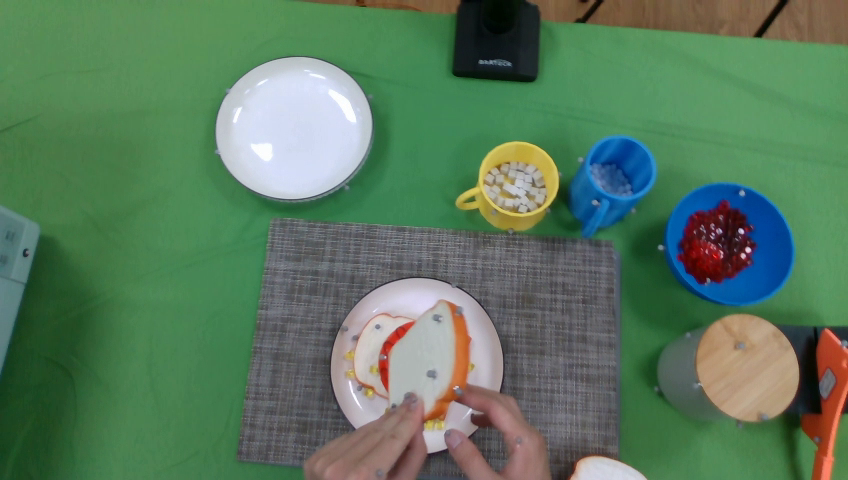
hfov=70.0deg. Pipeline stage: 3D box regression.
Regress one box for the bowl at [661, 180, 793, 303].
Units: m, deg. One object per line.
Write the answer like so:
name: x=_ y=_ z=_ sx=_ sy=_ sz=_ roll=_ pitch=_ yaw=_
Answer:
bowl: x=0.359 y=0.010 z=0.749 sx=0.151 sy=0.077 sz=0.150 roll=0 pitch=75 yaw=0

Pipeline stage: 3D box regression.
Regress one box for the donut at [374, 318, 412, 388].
donut: x=-0.009 y=0.140 z=0.700 sx=0.099 sy=0.048 sz=0.098 roll=1 pitch=77 yaw=-3

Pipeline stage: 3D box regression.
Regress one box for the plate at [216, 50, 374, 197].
plate: x=-0.169 y=-0.152 z=0.810 sx=0.208 sy=0.039 sz=0.206 roll=0 pitch=75 yaw=0

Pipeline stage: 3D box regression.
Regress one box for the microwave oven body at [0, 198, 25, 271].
microwave oven body: x=-0.671 y=0.130 z=0.613 sx=0.326 sy=0.261 sz=0.439 roll=6 pitch=76 yaw=1

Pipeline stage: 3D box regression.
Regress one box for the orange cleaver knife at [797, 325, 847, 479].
orange cleaver knife: x=0.453 y=0.205 z=0.695 sx=0.012 sy=0.077 sz=0.212 roll=3 pitch=101 yaw=2

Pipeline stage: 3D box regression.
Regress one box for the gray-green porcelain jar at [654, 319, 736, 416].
gray-green porcelain jar: x=0.329 y=0.146 z=0.688 sx=0.106 sy=0.127 sz=0.105 roll=0 pitch=75 yaw=0

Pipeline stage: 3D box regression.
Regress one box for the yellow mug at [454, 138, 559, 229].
yellow mug: x=0.102 y=-0.066 z=0.774 sx=0.131 sy=0.064 sz=0.099 roll=-16 pitch=75 yaw=-3

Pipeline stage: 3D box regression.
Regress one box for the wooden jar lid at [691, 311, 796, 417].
wooden jar lid: x=0.328 y=0.128 z=0.628 sx=0.108 sy=0.021 sz=0.108 roll=1 pitch=78 yaw=-2

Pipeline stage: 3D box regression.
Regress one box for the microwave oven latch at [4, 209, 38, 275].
microwave oven latch: x=-0.504 y=0.001 z=0.747 sx=0.030 sy=0.029 sz=0.079 roll=9 pitch=76 yaw=2

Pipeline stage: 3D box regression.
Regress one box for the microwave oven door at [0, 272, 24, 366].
microwave oven door: x=-0.531 y=0.184 z=0.594 sx=0.039 sy=0.245 sz=0.354 roll=6 pitch=75 yaw=2

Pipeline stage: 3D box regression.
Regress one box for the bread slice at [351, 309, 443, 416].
bread slice: x=-0.022 y=0.142 z=0.732 sx=0.131 sy=0.019 sz=0.104 roll=18 pitch=75 yaw=1

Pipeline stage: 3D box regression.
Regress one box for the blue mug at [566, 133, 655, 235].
blue mug: x=0.223 y=-0.059 z=0.753 sx=0.082 sy=0.106 sz=0.116 roll=25 pitch=76 yaw=7

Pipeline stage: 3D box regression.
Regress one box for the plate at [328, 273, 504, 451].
plate: x=-0.009 y=0.144 z=0.728 sx=0.209 sy=0.038 sz=0.208 roll=0 pitch=75 yaw=0

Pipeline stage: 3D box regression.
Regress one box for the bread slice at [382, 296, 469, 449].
bread slice: x=-0.002 y=0.114 z=0.554 sx=0.018 sy=0.134 sz=0.106 roll=17 pitch=43 yaw=-25
